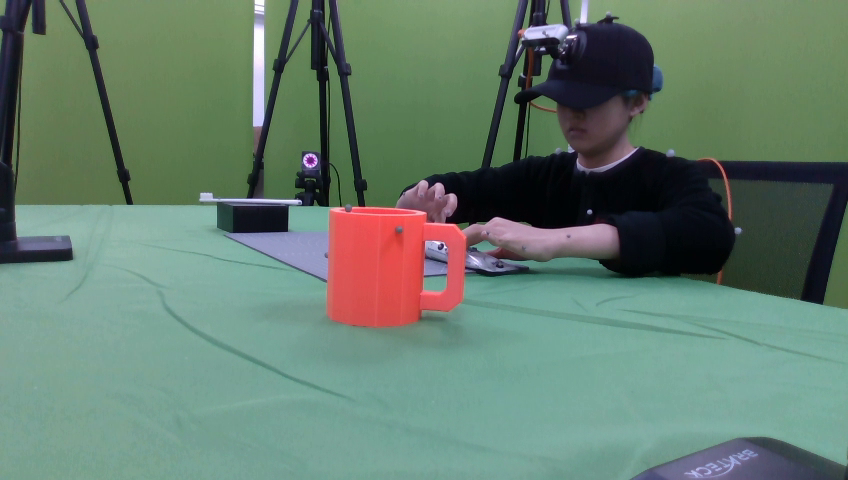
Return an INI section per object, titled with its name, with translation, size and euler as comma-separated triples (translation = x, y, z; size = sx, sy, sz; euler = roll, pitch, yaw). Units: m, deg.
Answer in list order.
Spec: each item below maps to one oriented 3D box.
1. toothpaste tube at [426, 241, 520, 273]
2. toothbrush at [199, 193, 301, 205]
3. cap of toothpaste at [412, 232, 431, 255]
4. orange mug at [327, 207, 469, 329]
[toothpaste tube]
translation = 0.050, 0.022, 0.828
size = 0.055, 0.034, 0.164
euler = -10, 18, -42
[toothbrush]
translation = -0.323, -0.076, 1.129
size = 0.182, 0.016, 0.014
euler = 2, 5, -15
[cap of toothpaste]
translation = -0.002, 0.006, 0.885
size = 0.037, 0.037, 0.011
euler = -5, 14, -45
[orange mug]
translation = -0.024, 0.021, 0.535
size = 0.126, 0.100, 0.083
euler = -1, 6, 8
